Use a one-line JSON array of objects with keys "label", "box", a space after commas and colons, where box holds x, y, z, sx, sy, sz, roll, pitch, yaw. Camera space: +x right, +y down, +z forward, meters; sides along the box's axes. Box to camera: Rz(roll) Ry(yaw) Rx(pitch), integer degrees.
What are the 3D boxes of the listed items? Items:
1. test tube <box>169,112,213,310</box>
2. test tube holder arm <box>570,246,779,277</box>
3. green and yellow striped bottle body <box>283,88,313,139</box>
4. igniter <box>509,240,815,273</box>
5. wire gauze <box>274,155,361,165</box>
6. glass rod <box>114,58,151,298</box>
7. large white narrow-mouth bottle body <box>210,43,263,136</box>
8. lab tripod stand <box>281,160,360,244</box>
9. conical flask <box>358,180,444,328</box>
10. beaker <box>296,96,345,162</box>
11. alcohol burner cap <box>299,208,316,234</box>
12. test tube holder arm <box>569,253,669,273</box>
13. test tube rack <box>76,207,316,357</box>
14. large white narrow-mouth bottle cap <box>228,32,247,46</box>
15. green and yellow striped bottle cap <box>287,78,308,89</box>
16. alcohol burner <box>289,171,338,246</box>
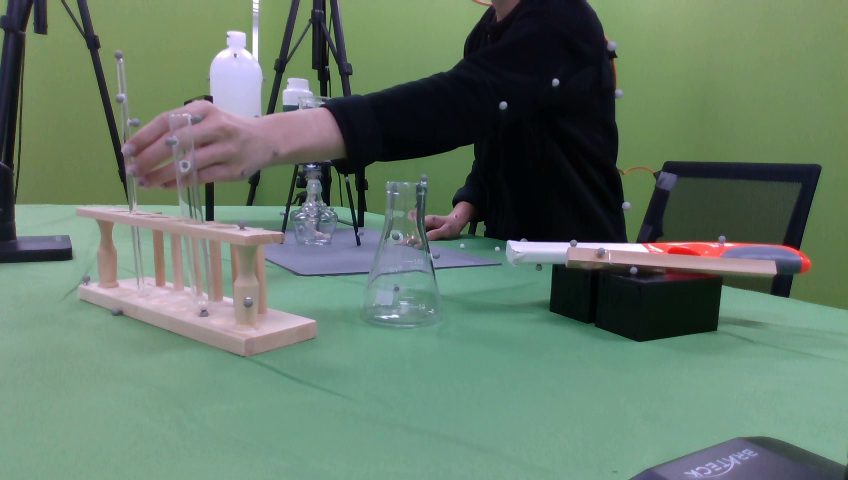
[{"label": "test tube", "box": [-0.175, -0.020, 0.455, 0.017, 0.150, 0.017, -3, 9, 1]}, {"label": "test tube holder arm", "box": [0.217, 0.020, 0.525, 0.178, 0.015, 0.013, 3, -24, 2]}, {"label": "green and yellow striped bottle body", "box": [-0.266, -0.275, 1.275, 0.063, 0.119, 0.063, 3, 7, 0]}, {"label": "igniter", "box": [0.220, 0.015, 0.566, 0.277, 0.025, 0.057, 2, 16, 0]}, {"label": "wire gauze", "box": [-0.174, -0.129, 0.978, 0.125, 0.011, 0.121, -2, 6, -19]}, {"label": "glass rod", "box": [-0.237, -0.044, 0.492, 0.008, 0.199, 0.008, 1, 15, 0]}, {"label": "large white narrow-mouth bottle body", "box": [-0.369, -0.305, 1.193, 0.102, 0.194, 0.102, 3, 8, 0]}, {"label": "lab tripod stand", "box": [-0.170, -0.063, 0.983, 0.148, 0.131, 0.148, 1, 6, 0]}, {"label": "conical flask", "box": [-0.017, 0.010, 0.522, 0.075, 0.122, 0.075, 2, 7, 0]}, {"label": "beaker", "box": [-0.163, -0.175, 0.966, 0.083, 0.100, 0.074, 7, 8, 34]}, {"label": "alcohol burner cap", "box": [-0.213, -0.035, 1.110, 0.034, 0.048, 0.034, 3, 6, 0]}, {"label": "test tube holder arm", "box": [0.172, 0.019, 0.532, 0.088, 0.015, 0.010, 3, -24, 3]}, {"label": "test tube rack", "box": [-0.196, 0.023, 0.499, 0.241, 0.085, 0.067, 8, 9, 36]}, {"label": "large white narrow-mouth bottle cap", "box": [-0.364, -0.391, 1.180, 0.038, 0.024, 0.037, 4, 8, 0]}, {"label": "green and yellow striped bottle cap", "box": [-0.265, -0.326, 1.268, 0.045, 0.020, 0.045, 4, 6, 0]}, {"label": "alcohol burner", "box": [-0.177, -0.051, 0.968, 0.078, 0.119, 0.078, 1, 6, 0]}]
